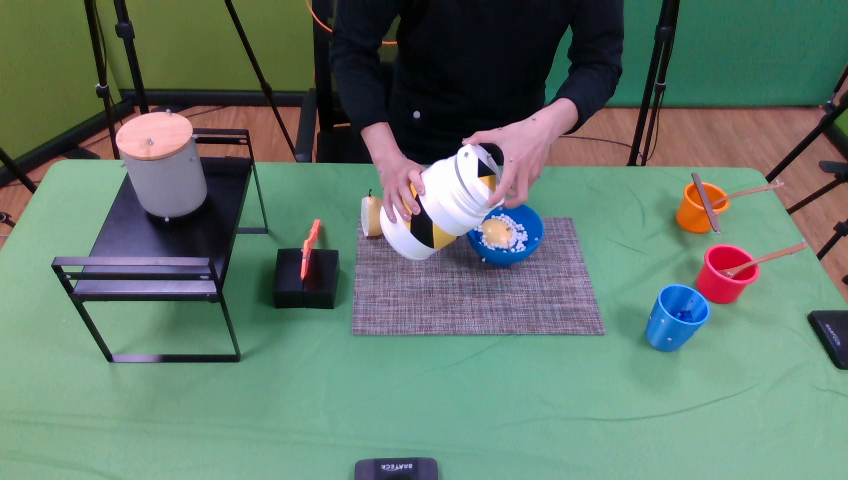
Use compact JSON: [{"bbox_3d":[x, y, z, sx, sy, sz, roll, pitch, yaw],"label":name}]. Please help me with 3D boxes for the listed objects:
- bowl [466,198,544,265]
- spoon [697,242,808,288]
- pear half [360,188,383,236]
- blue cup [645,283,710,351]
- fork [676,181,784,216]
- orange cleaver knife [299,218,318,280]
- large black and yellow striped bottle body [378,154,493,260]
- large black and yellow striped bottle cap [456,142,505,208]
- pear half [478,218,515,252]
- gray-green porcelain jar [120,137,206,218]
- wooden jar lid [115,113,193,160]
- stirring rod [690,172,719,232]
[{"bbox_3d":[0.149,-0.004,1.167,0.151,0.077,0.150,3,46,-2],"label":"bowl"},{"bbox_3d":[0.601,0.045,1.116,0.194,0.022,0.041,-29,34,30],"label":"spoon"},{"bbox_3d":[-0.096,-0.060,1.181,0.056,0.110,0.076,-14,52,-17],"label":"pear half"},{"bbox_3d":[0.426,0.139,1.041,0.093,0.101,0.092,3,46,-3],"label":"blue cup"},{"bbox_3d":[0.618,-0.084,1.235,0.207,0.019,0.028,-23,21,38],"label":"fork"},{"bbox_3d":[-0.214,0.013,1.125,0.012,0.077,0.210,6,17,-5],"label":"orange cleaver knife"},{"bbox_3d":[0.024,-0.059,1.051,0.131,0.184,0.130,31,43,-33],"label":"large black and yellow striped bottle body"},{"bbox_3d":[0.094,-0.107,0.996,0.019,0.115,0.114,-25,35,33],"label":"large black and yellow striped bottle cap"},{"bbox_3d":[0.144,-0.013,1.167,0.070,0.031,0.087,-21,55,-20],"label":"pear half"},{"bbox_3d":[-0.403,-0.106,0.946,0.106,0.127,0.105,3,46,-2],"label":"gray-green porcelain jar"},{"bbox_3d":[-0.399,-0.151,0.900,0.108,0.021,0.107,3,46,-3],"label":"wooden jar lid"},{"bbox_3d":[0.566,-0.080,1.224,0.014,0.006,0.175,3,46,1],"label":"stirring rod"}]
